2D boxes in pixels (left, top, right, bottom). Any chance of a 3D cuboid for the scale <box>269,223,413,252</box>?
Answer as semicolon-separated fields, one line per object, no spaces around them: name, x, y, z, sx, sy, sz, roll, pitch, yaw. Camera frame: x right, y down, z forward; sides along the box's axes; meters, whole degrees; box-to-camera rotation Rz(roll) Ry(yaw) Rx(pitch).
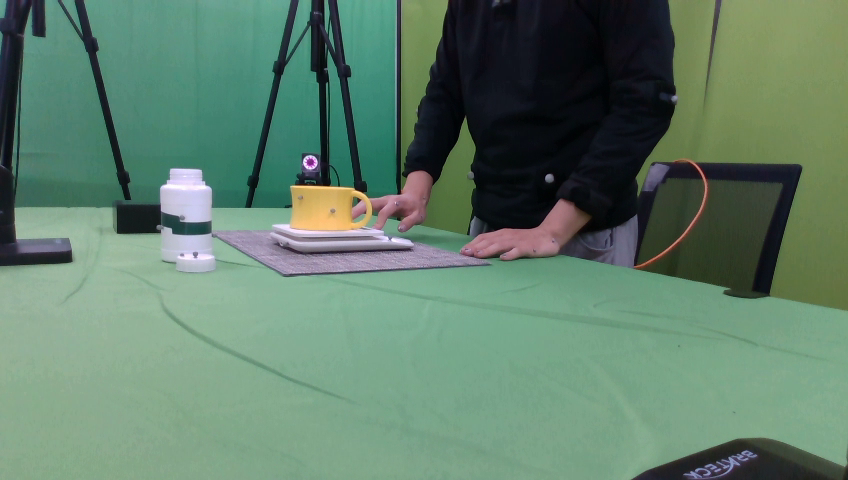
scale;-0.132;-0.007;0.965;0.202;0.031;0.148;-1;8;-31

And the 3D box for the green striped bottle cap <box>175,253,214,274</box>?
green striped bottle cap;-0.280;0.029;0.740;0.044;0.020;0.044;7;3;0

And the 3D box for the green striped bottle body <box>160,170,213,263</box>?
green striped bottle body;-0.312;-0.033;0.797;0.063;0.119;0.063;2;7;0

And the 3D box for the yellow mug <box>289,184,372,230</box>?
yellow mug;-0.145;-0.052;0.944;0.131;0.064;0.100;4;7;9
